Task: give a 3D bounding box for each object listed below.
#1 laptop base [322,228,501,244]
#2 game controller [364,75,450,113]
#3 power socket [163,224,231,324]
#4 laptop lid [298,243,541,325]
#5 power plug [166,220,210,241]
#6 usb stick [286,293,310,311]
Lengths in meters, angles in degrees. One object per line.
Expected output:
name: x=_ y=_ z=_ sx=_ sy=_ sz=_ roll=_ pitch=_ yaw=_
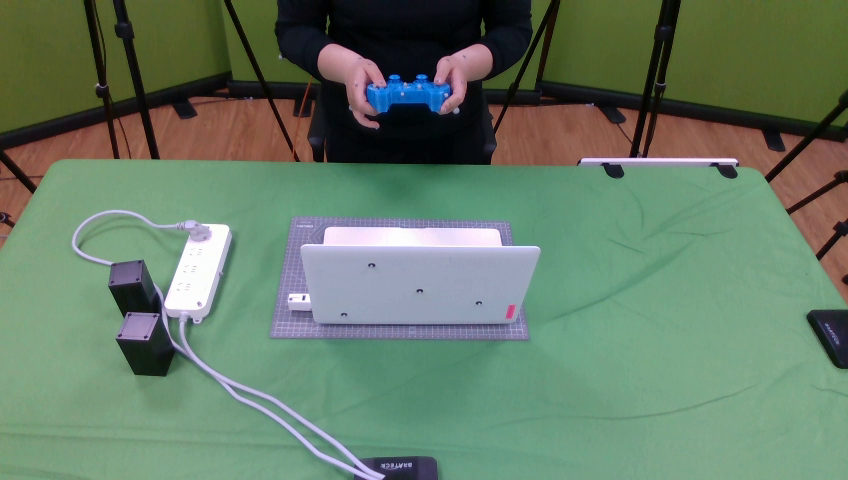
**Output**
laptop base: x=-0.020 y=0.063 z=1.136 sx=0.355 sy=0.023 sz=0.234 roll=0 pitch=43 yaw=-4
game controller: x=-0.029 y=-0.260 z=1.067 sx=0.155 sy=0.052 sz=0.096 roll=-2 pitch=31 yaw=-3
power socket: x=-0.411 y=0.052 z=1.107 sx=0.072 sy=0.033 sz=0.225 roll=3 pitch=46 yaw=-3
laptop lid: x=-0.010 y=0.076 z=0.958 sx=0.357 sy=0.243 sz=0.013 roll=1 pitch=53 yaw=-5
power plug: x=-0.440 y=-0.016 z=1.144 sx=0.072 sy=0.053 sz=0.035 roll=8 pitch=46 yaw=9
usb stick: x=-0.210 y=0.109 z=1.059 sx=0.059 sy=0.027 sz=0.021 roll=4 pitch=45 yaw=-6
